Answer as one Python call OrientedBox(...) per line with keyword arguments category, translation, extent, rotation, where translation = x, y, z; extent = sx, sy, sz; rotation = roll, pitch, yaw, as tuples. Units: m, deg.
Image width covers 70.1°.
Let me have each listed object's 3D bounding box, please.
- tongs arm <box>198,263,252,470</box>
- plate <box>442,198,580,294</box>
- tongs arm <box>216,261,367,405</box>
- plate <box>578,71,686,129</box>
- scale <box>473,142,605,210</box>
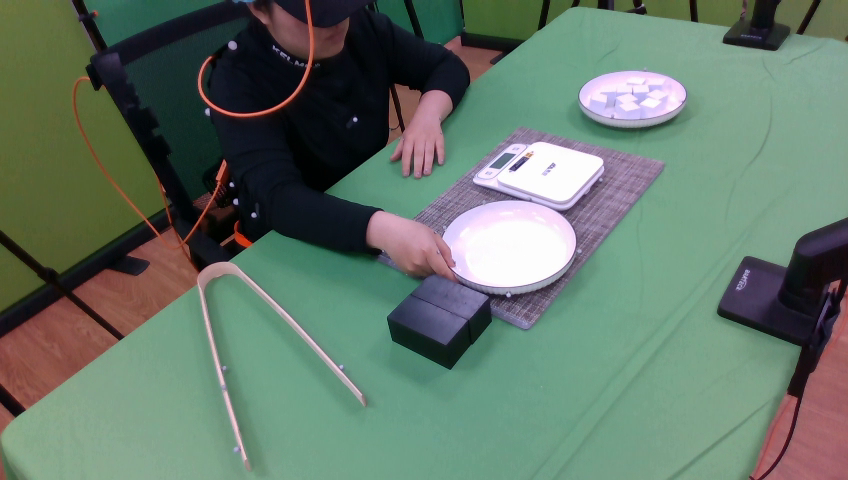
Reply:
OrientedBox(category="tongs arm", translation=(-0.270, 0.154, 0.841), extent=(0.051, 0.026, 0.381), rotation=(-24, 41, -16))
OrientedBox(category="plate", translation=(0.132, 0.012, 0.926), extent=(0.207, 0.039, 0.206), rotation=(-5, 40, 5))
OrientedBox(category="tongs arm", translation=(-0.201, 0.121, 0.871), extent=(0.028, 0.028, 0.384), rotation=(-36, 46, -24))
OrientedBox(category="plate", translation=(0.416, -0.280, 1.222), extent=(0.209, 0.038, 0.208), rotation=(-5, 41, 5))
OrientedBox(category="scale", translation=(0.202, -0.121, 1.074), extent=(0.199, 0.032, 0.149), rotation=(23, 49, 33))
